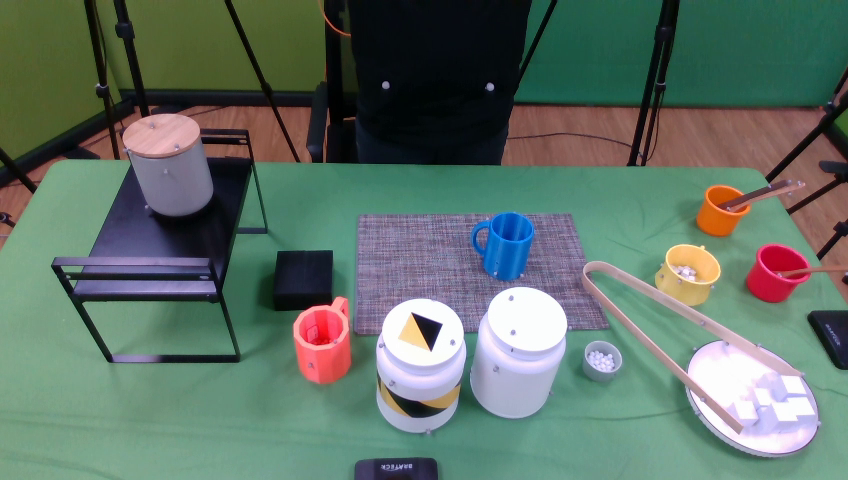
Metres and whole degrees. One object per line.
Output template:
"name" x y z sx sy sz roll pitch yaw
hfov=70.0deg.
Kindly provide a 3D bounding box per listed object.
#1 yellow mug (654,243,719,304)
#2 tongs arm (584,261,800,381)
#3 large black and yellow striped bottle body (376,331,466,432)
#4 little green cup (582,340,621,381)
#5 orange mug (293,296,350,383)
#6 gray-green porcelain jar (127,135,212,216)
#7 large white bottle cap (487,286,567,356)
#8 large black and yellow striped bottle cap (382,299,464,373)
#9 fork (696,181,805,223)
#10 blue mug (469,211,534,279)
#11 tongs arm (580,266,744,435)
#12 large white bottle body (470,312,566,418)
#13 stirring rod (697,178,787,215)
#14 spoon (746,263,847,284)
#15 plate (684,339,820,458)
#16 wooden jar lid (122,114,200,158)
"yellow mug" 0.504 0.054 1.154 0.099 0.064 0.130 28 49 22
"tongs arm" 0.452 0.137 1.064 0.051 0.027 0.382 -34 50 -27
"large black and yellow striped bottle body" -0.007 0.189 0.905 0.131 0.185 0.130 2 46 -2
"little green cup" 0.295 0.204 1.015 0.061 0.039 0.061 2 45 -2
"orange mug" -0.157 0.154 0.985 0.083 0.101 0.125 17 52 11
"gray-green porcelain jar" -0.394 -0.109 0.949 0.106 0.127 0.105 3 46 -3
"large white bottle cap" 0.147 0.114 0.869 0.115 0.018 0.114 3 46 -3
"large black and yellow striped bottle cap" -0.002 0.132 0.843 0.115 0.019 0.114 2 46 -1
"fork" 0.659 -0.077 1.232 0.207 0.019 0.028 -26 35 34
"blue mug" 0.141 0.005 1.140 0.116 0.106 0.082 18 48 13
"tongs arm" 0.384 0.173 1.028 0.028 0.028 0.385 -25 46 -15
"large white bottle body" 0.143 0.173 0.930 0.131 0.185 0.130 2 46 -2
"stirring rod" 0.650 -0.088 1.246 0.006 0.176 0.014 29 50 -38
"spoon" 0.696 0.057 1.113 0.193 0.022 0.041 -16 27 48
"plate" 0.523 0.256 0.982 0.208 0.039 0.206 2 46 -2
"wooden jar lid" -0.390 -0.152 0.904 0.108 0.021 0.107 3 45 -3
